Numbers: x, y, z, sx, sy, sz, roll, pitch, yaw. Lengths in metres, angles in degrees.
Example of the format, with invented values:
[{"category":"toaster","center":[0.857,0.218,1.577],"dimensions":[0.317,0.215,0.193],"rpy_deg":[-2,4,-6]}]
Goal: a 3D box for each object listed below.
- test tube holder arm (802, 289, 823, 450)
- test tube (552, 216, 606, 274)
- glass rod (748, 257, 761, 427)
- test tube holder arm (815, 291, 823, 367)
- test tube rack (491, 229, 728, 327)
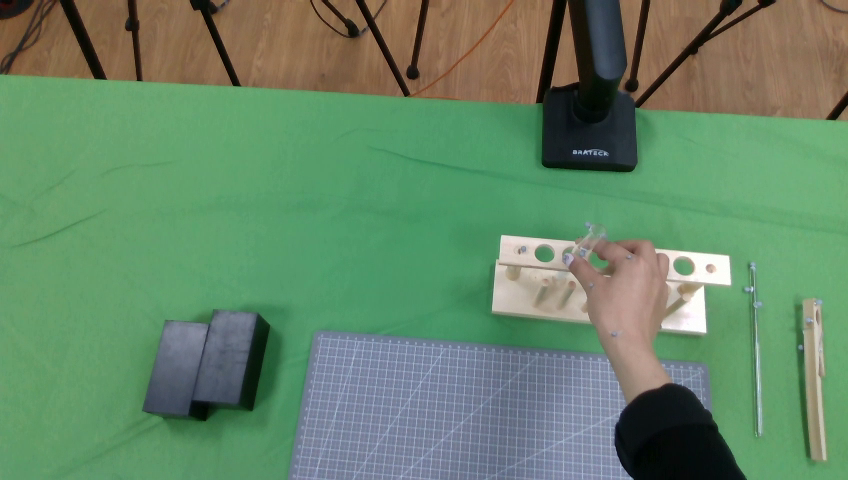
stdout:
[{"category":"test tube holder arm","center":[0.427,0.139,0.667],"dimensions":[0.013,0.015,0.177],"rpy_deg":[22,66,-20]},{"category":"test tube","center":[0.161,0.009,0.642],"dimensions":[0.017,0.151,0.017],"rpy_deg":[1,70,-3]},{"category":"glass rod","center":[0.375,0.111,0.689],"dimensions":[0.008,0.008,0.198],"rpy_deg":[8,68,5]},{"category":"test tube holder arm","center":[0.442,0.101,0.686],"dimensions":[0.010,0.015,0.087],"rpy_deg":[22,66,-20]},{"category":"test tube rack","center":[0.201,0.044,0.682],"dimensions":[0.242,0.086,0.066],"rpy_deg":[5,68,4]}]
